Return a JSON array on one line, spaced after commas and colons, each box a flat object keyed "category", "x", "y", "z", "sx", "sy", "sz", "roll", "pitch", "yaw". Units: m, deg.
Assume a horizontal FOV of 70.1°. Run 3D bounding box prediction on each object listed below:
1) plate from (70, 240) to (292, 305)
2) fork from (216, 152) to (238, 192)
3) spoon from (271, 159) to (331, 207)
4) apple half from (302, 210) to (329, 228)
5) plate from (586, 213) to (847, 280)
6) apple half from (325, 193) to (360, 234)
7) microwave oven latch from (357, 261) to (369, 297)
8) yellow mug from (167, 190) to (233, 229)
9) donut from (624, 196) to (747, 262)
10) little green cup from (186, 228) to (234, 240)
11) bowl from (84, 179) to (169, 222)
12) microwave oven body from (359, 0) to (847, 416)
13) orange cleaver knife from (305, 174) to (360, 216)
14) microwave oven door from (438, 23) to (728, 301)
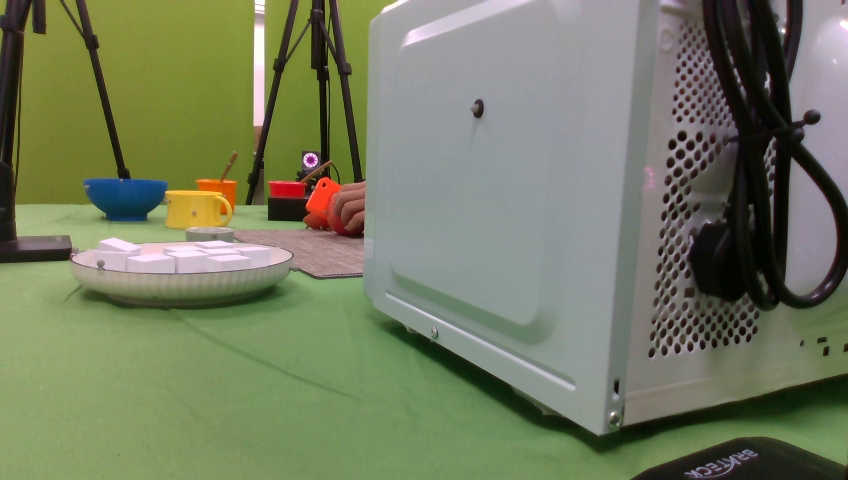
[{"category": "plate", "x": -0.241, "y": 0.031, "z": 0.618, "sx": 0.208, "sy": 0.039, "sz": 0.207, "roll": 2, "pitch": 7, "yaw": 0}, {"category": "fork", "x": -0.455, "y": -0.132, "z": 1.367, "sx": 0.028, "sy": 0.018, "sz": 0.207, "roll": -2, "pitch": -35, "yaw": -37}, {"category": "spoon", "x": -0.307, "y": -0.142, "z": 1.514, "sx": 0.193, "sy": 0.021, "sz": 0.041, "roll": -41, "pitch": 4, "yaw": 8}, {"category": "apple half", "x": -0.193, "y": -0.044, "z": 1.169, "sx": 0.081, "sy": 0.032, "sz": 0.081, "roll": -24, "pitch": -11, "yaw": -5}, {"category": "plate", "x": 0.243, "y": 0.002, "z": 0.512, "sx": 0.209, "sy": 0.038, "sz": 0.209, "roll": 1, "pitch": 7, "yaw": 0}, {"category": "apple half", "x": -0.133, "y": -0.047, "z": 1.087, "sx": 0.081, "sy": 0.074, "sz": 0.053, "roll": 4, "pitch": 10, "yaw": -27}, {"category": "microwave oven latch", "x": -0.019, "y": 0.033, "z": 0.530, "sx": 0.079, "sy": 0.029, "sz": 0.030, "roll": -1, "pitch": 7, "yaw": -27}, {"category": "yellow mug", "x": -0.415, "y": -0.057, "z": 1.132, "sx": 0.130, "sy": 0.064, "sz": 0.100, "roll": 6, "pitch": 8, "yaw": 16}, {"category": "donut", "x": 0.222, "y": -0.007, "z": 0.519, "sx": 0.099, "sy": 0.048, "sz": 0.099, "roll": 17, "pitch": 1, "yaw": 0}, {"category": "little green cup", "x": -0.284, "y": 0.005, "z": 0.805, "sx": 0.061, "sy": 0.038, "sz": 0.061, "roll": 2, "pitch": 8, "yaw": 0}, {"category": "bowl", "x": -0.584, "y": -0.078, "z": 1.194, "sx": 0.151, "sy": 0.077, "sz": 0.151, "roll": 3, "pitch": 8, "yaw": 0}, {"category": "microwave oven body", "x": 0.211, "y": -0.047, "z": 0.474, "sx": 0.444, "sy": 0.260, "sz": 0.324, "roll": -1, "pitch": 7, "yaw": -28}, {"category": "orange cleaver knife", "x": -0.120, "y": -0.065, "z": 1.131, "sx": 0.212, "sy": 0.077, "sz": 0.012, "roll": 13, "pitch": 3, "yaw": -35}, {"category": "microwave oven door", "x": 0.181, "y": -0.072, "z": 0.621, "sx": 0.358, "sy": 0.243, "sz": 0.039, "roll": -2, "pitch": 8, "yaw": -29}]
